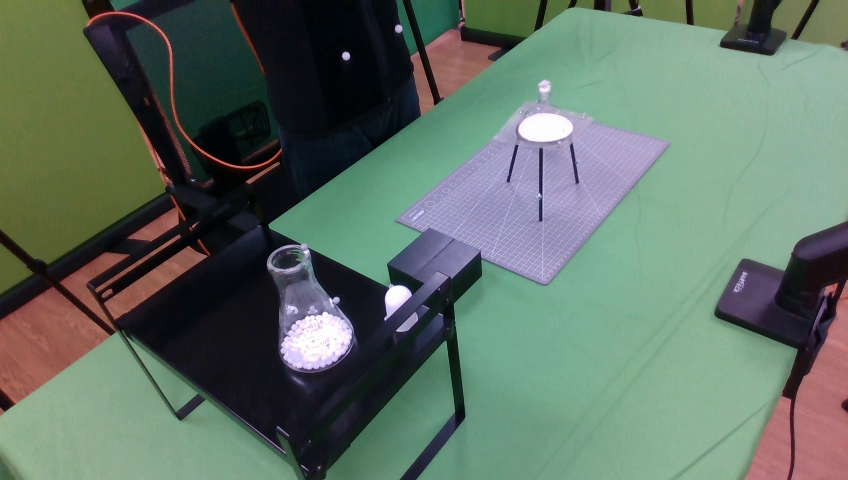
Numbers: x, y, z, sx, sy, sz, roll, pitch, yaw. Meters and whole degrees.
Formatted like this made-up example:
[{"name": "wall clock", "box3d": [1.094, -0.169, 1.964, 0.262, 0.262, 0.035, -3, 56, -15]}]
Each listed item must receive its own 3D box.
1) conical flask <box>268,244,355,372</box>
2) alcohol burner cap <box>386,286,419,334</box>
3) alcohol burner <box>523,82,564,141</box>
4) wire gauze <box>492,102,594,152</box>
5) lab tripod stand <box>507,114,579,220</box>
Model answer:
[{"name": "conical flask", "box3d": [-0.111, 0.060, 0.564, 0.075, 0.122, 0.075, -5, 41, 4]}, {"name": "alcohol burner cap", "box3d": [-0.024, 0.067, 0.604, 0.034, 0.048, 0.033, -5, 39, 4]}, {"name": "alcohol burner", "box3d": [0.230, -0.250, 1.161, 0.078, 0.119, 0.077, -4, 43, 4]}, {"name": "wire gauze", "box3d": [0.191, -0.180, 0.964, 0.120, 0.011, 0.125, 19, 48, 28]}, {"name": "lab tripod stand", "box3d": [0.199, -0.128, 1.005, 0.148, 0.132, 0.147, -3, 42, 3]}]
